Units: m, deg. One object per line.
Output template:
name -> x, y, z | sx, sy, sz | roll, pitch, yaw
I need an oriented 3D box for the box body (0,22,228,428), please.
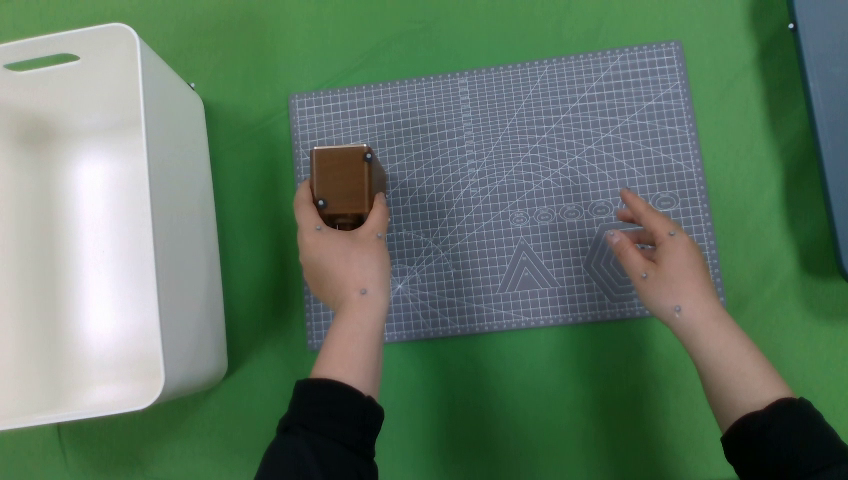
box body -> -0.364, -0.004, 0.630 | 0.254, 0.161, 0.362 | -10, 82, 4

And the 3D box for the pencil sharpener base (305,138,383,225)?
pencil sharpener base -> -0.080, -0.053, 0.631 | 0.061, 0.107, 0.076 | -4, 83, 4

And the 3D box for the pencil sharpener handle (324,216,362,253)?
pencil sharpener handle -> -0.076, -0.005, 0.612 | 0.036, 0.068, 0.030 | -5, 82, 12

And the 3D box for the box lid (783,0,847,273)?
box lid -> 0.511, -0.154, 0.596 | 0.263, 0.015, 0.370 | -7, 82, 4
